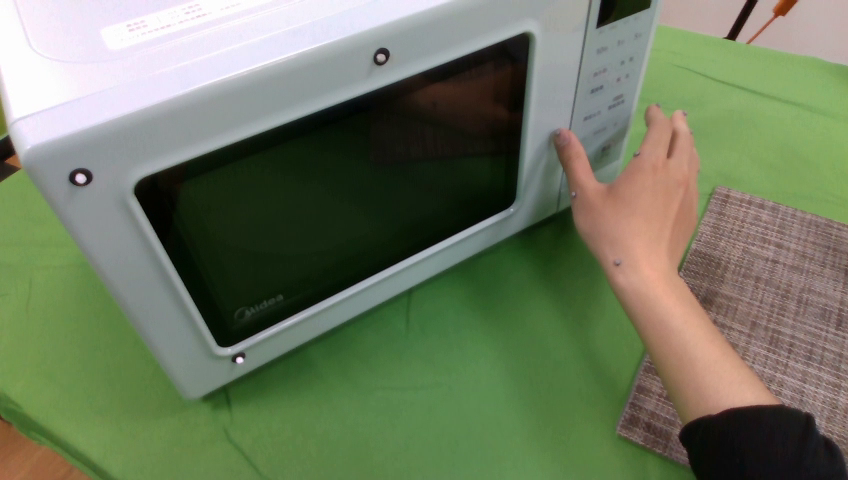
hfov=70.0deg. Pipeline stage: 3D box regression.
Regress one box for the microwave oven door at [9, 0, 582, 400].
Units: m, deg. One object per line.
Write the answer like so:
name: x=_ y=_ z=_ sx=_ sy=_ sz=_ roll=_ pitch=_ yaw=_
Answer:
microwave oven door: x=-0.041 y=-0.042 z=0.432 sx=0.356 sy=0.246 sz=0.039 roll=-27 pitch=51 yaw=-19

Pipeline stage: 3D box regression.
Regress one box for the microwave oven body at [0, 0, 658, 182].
microwave oven body: x=-0.083 y=-0.144 z=0.535 sx=0.442 sy=0.263 sz=0.322 roll=-27 pitch=52 yaw=-19

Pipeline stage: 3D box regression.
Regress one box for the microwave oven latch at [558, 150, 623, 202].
microwave oven latch: x=0.151 y=-0.066 z=0.579 sx=0.079 sy=0.030 sz=0.030 roll=-25 pitch=51 yaw=-17
